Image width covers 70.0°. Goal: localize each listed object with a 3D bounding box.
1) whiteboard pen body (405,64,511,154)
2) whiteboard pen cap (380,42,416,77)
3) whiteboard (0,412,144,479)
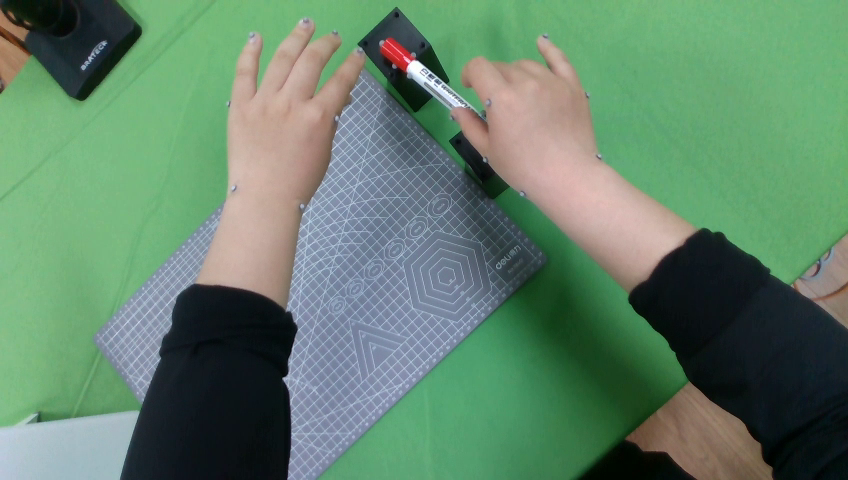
[{"bbox_3d":[0.021,-0.125,0.540,0.140,0.017,0.017,41,95,10],"label":"whiteboard pen body"},{"bbox_3d":[-0.023,-0.164,0.551,0.032,0.017,0.017,42,95,10],"label":"whiteboard pen cap"},{"bbox_3d":[-0.474,0.280,0.603,0.143,0.308,0.217,6,87,32],"label":"whiteboard"}]
